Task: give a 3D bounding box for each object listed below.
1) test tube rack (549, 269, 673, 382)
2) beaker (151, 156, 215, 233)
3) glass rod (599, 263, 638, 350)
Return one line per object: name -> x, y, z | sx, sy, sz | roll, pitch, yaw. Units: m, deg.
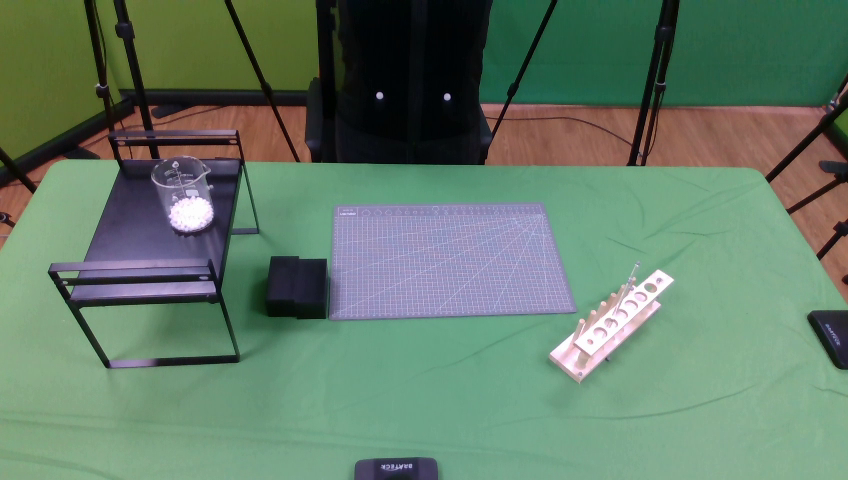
test tube rack -> 0.325, 0.134, 1.047 | 0.242, 0.085, 0.066 | -32, 56, -30
beaker -> -0.364, -0.068, 0.933 | 0.084, 0.101, 0.073 | -11, 48, -15
glass rod -> 0.311, 0.112, 0.976 | 0.008, 0.200, 0.008 | 4, 40, -3
